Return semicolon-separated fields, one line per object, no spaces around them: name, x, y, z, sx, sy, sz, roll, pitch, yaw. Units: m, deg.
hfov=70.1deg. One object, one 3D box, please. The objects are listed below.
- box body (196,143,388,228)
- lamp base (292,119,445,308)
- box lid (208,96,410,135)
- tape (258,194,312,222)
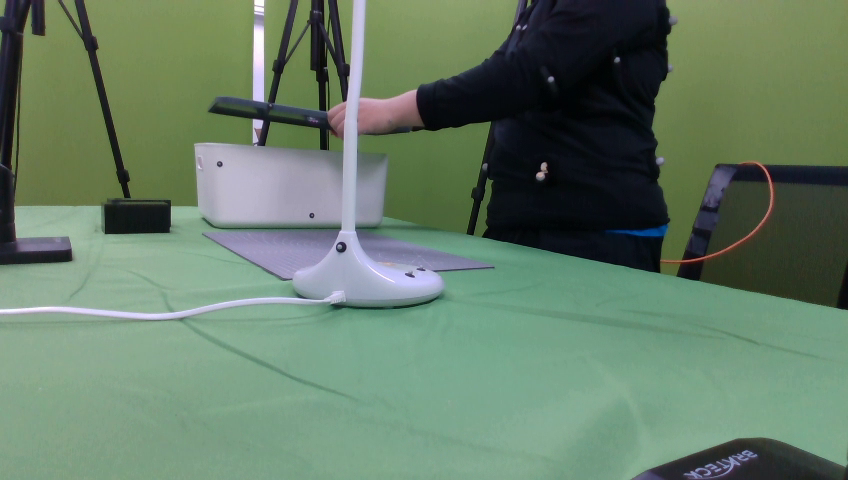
box body;-0.286;-0.118;1.291;0.366;0.160;0.253;-1;8;-27
lamp base;-0.056;-0.030;0.616;0.160;0.180;0.179;4;10;8
box lid;-0.237;-0.245;1.221;0.373;0.015;0.262;4;5;-24
tape;-0.299;-0.069;1.298;0.117;0.052;0.117;3;7;0
